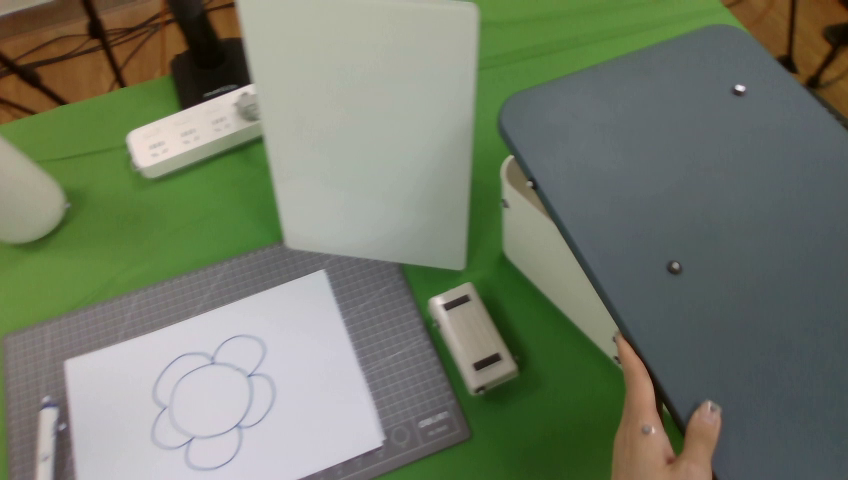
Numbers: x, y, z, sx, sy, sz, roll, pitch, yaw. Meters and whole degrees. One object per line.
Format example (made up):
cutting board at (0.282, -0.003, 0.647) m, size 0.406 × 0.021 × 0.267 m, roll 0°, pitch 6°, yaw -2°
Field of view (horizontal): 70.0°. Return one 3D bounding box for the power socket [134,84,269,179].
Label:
power socket at (-0.275, -0.149, 0.809) m, size 0.227 × 0.033 × 0.071 m, roll -24°, pitch 63°, yaw -11°

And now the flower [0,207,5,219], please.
flower at (-0.477, -0.119, 0.611) m, size 0.038 × 0.363 × 0.044 m, roll 27°, pitch 55°, yaw -2°

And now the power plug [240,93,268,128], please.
power plug at (-0.217, -0.158, 0.786) m, size 0.035 × 0.053 × 0.072 m, roll -15°, pitch 67°, yaw -6°

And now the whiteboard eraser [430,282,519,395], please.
whiteboard eraser at (0.052, 0.103, 0.644) m, size 0.055 × 0.042 × 0.111 m, roll -21°, pitch 61°, yaw -11°

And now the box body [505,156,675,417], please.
box body at (0.283, 0.018, 0.612) m, size 0.254 × 0.162 × 0.361 m, roll -36°, pitch 65°, yaw -17°

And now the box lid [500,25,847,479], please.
box lid at (0.245, -0.017, 0.469) m, size 0.263 × 0.015 × 0.368 m, roll -21°, pitch 63°, yaw -10°

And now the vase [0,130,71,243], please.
vase at (-0.495, -0.078, 0.684) m, size 0.098 × 0.202 × 0.097 m, roll -2°, pitch 60°, yaw 4°

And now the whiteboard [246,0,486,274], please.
whiteboard at (-0.042, -0.134, 0.668) m, size 0.217 × 0.308 × 0.143 m, roll 8°, pitch 40°, yaw 8°

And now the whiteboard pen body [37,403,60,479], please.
whiteboard pen body at (-0.373, 0.231, 0.599) m, size 0.017 × 0.017 × 0.139 m, roll -12°, pitch 63°, yaw -4°
